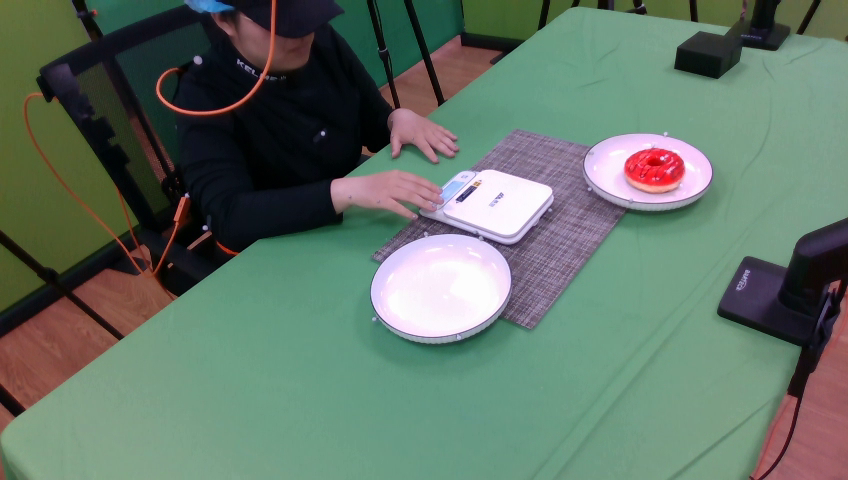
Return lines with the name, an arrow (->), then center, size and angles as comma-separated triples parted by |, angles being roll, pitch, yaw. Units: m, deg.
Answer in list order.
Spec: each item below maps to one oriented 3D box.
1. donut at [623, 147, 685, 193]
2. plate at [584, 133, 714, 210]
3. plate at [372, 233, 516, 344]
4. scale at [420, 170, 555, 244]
donut -> 0.388, -0.119, 1.019 | 0.099, 0.048, 0.098 | -4, 42, 5
plate -> 0.379, -0.113, 1.030 | 0.209, 0.038, 0.208 | -4, 41, 4
plate -> 0.030, 0.072, 0.879 | 0.207, 0.039, 0.206 | -6, 42, 6
scale -> 0.106, -0.064, 1.029 | 0.199, 0.032, 0.149 | 21, 48, 32
